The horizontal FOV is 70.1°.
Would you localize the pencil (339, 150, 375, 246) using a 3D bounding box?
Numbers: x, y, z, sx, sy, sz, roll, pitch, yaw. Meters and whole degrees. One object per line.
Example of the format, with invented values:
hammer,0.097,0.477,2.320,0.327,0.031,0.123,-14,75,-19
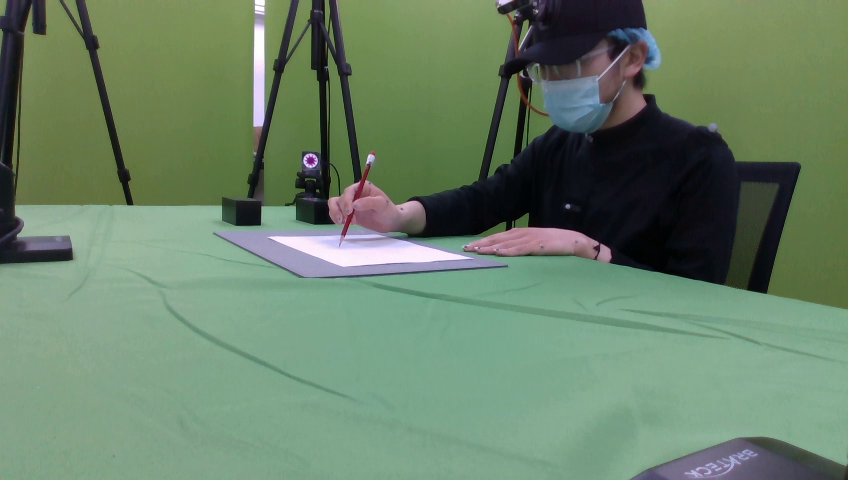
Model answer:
pencil,-0.110,-0.072,0.989,0.012,0.194,0.012,11,-31,7
